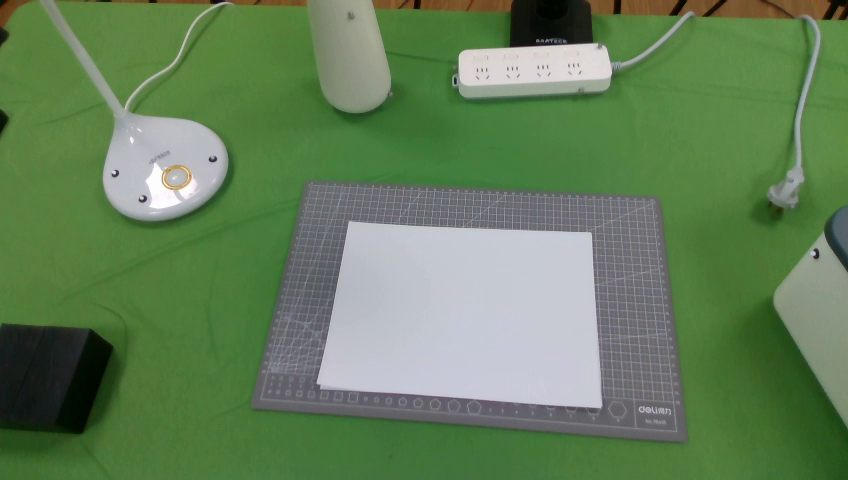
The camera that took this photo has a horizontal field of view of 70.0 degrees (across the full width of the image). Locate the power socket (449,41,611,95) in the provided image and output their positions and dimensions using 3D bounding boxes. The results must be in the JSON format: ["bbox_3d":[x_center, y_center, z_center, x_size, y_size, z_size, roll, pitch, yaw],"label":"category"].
[{"bbox_3d":[0.149,-0.241,0.850,0.227,0.033,0.071,-1,61,1],"label":"power socket"}]

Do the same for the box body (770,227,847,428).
[{"bbox_3d":[0.532,0.129,0.545,0.254,0.162,0.360,-15,60,-6],"label":"box body"}]

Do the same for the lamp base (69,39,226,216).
[{"bbox_3d":[-0.354,-0.144,0.732,0.178,0.182,0.160,33,66,23],"label":"lamp base"}]

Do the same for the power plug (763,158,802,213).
[{"bbox_3d":[0.438,-0.063,0.732,0.073,0.053,0.035,-25,56,-35],"label":"power plug"}]

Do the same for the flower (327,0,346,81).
[{"bbox_3d":[-0.088,-0.295,0.702,0.044,0.363,0.038,-35,81,-25],"label":"flower"}]

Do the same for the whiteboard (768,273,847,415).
[{"bbox_3d":[0.533,0.123,0.562,0.217,0.145,0.302,-15,60,-9],"label":"whiteboard"}]

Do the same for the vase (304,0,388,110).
[{"bbox_3d":[-0.103,-0.262,0.778,0.098,0.202,0.097,-2,59,3],"label":"vase"}]

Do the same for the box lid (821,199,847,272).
[{"bbox_3d":[0.528,0.089,0.481,0.263,0.015,0.367,-16,61,-5],"label":"box lid"}]
